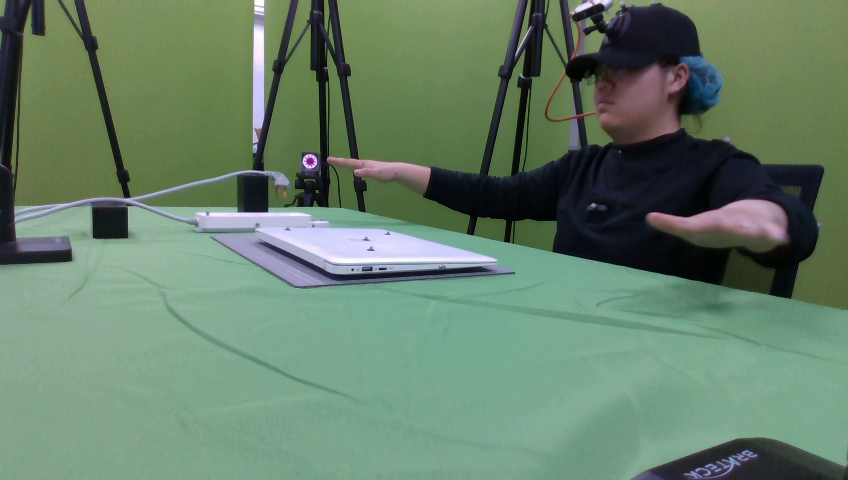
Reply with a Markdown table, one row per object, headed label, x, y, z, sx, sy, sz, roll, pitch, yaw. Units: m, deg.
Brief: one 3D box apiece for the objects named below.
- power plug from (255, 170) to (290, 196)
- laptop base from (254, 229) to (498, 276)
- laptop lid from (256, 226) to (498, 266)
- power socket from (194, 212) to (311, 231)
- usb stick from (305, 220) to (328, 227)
| label | x | y | z | sx | sy | sz | roll | pitch | yaw |
| --- | --- | --- | --- | --- | --- | --- | --- | --- | --- |
| power plug | -0.323 | -0.120 | 1.285 | 0.073 | 0.052 | 0.035 | 2 | -13 | -13 |
| laptop base | -0.088 | 0.016 | 0.878 | 0.237 | 0.023 | 0.352 | 2 | 6 | -31 |
| laptop lid | -0.085 | 0.004 | 0.878 | 0.243 | 0.013 | 0.355 | 1 | 7 | -29 |
| power socket | -0.322 | -0.037 | 1.152 | 0.228 | 0.032 | 0.072 | -2 | 8 | -34 |
| usb stick | -0.194 | -0.020 | 1.075 | 0.021 | 0.027 | 0.059 | 4 | 10 | 22 |
